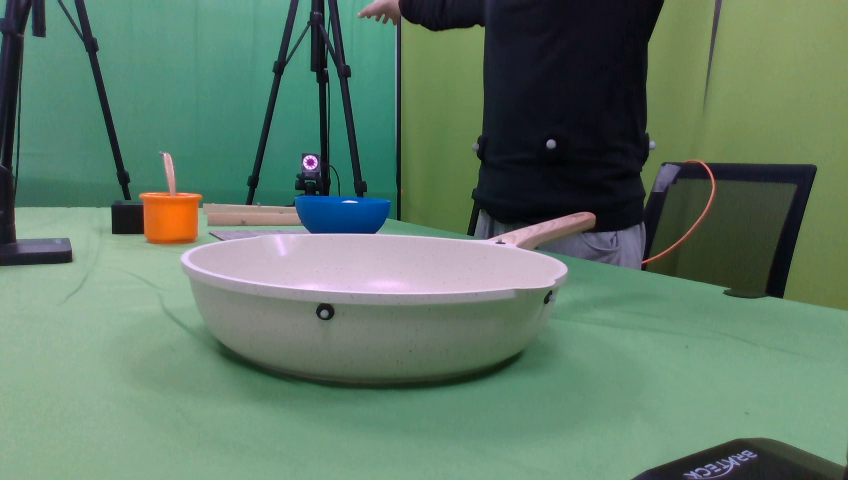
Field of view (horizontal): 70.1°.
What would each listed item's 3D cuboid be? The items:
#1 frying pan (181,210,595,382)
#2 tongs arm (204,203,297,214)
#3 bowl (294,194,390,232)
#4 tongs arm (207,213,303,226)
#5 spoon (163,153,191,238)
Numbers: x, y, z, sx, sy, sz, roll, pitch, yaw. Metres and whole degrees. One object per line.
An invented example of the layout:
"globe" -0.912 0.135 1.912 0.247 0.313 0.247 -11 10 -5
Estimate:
"frying pan" 0.034 0.019 0.557 0.305 0.102 0.490 10 19 42
"tongs arm" -0.295 -0.062 1.370 0.386 0.026 0.050 1 9 -19
"bowl" -0.130 -0.029 0.956 0.151 0.077 0.151 3 7 0
"tongs arm" -0.264 -0.046 1.297 0.390 0.028 0.028 -2 7 -32
"spoon" -0.413 -0.077 0.996 0.042 0.193 0.021 2 -37 -31
